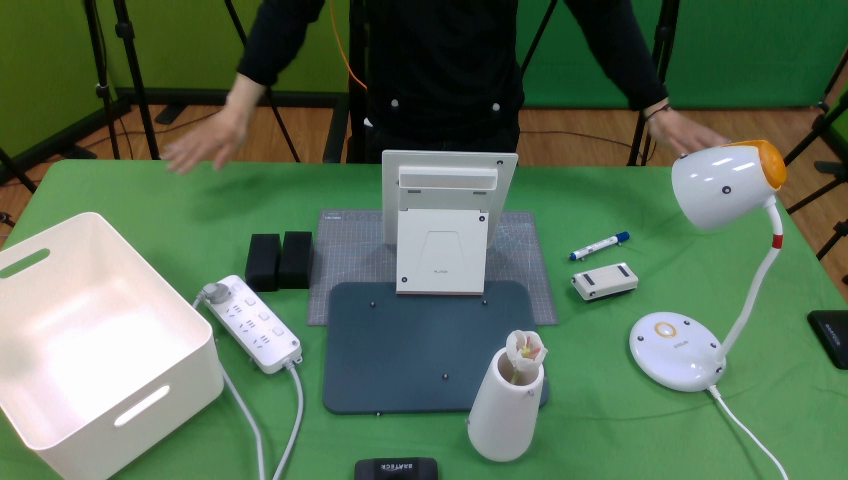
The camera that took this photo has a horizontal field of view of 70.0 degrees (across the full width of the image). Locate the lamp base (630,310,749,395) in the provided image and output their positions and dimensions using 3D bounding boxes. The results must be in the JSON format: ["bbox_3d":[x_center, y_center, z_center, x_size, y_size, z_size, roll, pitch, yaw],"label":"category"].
[{"bbox_3d":[0.447,0.143,0.984,0.161,0.181,0.178,-24,55,-24],"label":"lamp base"}]

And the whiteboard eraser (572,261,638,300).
[{"bbox_3d":[0.338,0.079,1.133,0.113,0.042,0.055,-12,46,-15],"label":"whiteboard eraser"}]

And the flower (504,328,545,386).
[{"bbox_3d":[0.114,0.189,0.790,0.044,0.363,0.038,34,69,19],"label":"flower"}]

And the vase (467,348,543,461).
[{"bbox_3d":[0.116,0.235,0.860,0.098,0.201,0.097,1,48,-1],"label":"vase"}]

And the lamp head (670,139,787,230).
[{"bbox_3d":[0.415,-0.079,0.812,0.113,0.123,0.112,12,70,-37],"label":"lamp head"}]

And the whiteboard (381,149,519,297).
[{"bbox_3d":[0.033,-0.008,1.042,0.217,0.307,0.143,2,61,-2],"label":"whiteboard"}]

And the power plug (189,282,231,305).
[{"bbox_3d":[-0.368,0.097,1.038,0.072,0.053,0.035,-26,54,-21],"label":"power plug"}]

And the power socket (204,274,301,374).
[{"bbox_3d":[-0.296,0.140,1.035,0.072,0.033,0.225,-33,57,-29],"label":"power socket"}]

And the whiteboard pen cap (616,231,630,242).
[{"bbox_3d":[0.403,-0.007,1.235,0.033,0.018,0.018,-19,50,-24],"label":"whiteboard pen cap"}]

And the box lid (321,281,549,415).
[{"bbox_3d":[0.013,0.174,1.040,0.372,0.015,0.261,0,47,-5],"label":"box lid"}]

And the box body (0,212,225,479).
[{"bbox_3d":[-0.506,0.155,0.916,0.362,0.161,0.254,35,54,26],"label":"box body"}]

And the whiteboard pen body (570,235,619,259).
[{"bbox_3d":[0.351,0.010,1.214,0.141,0.017,0.017,-20,51,-23],"label":"whiteboard pen body"}]
